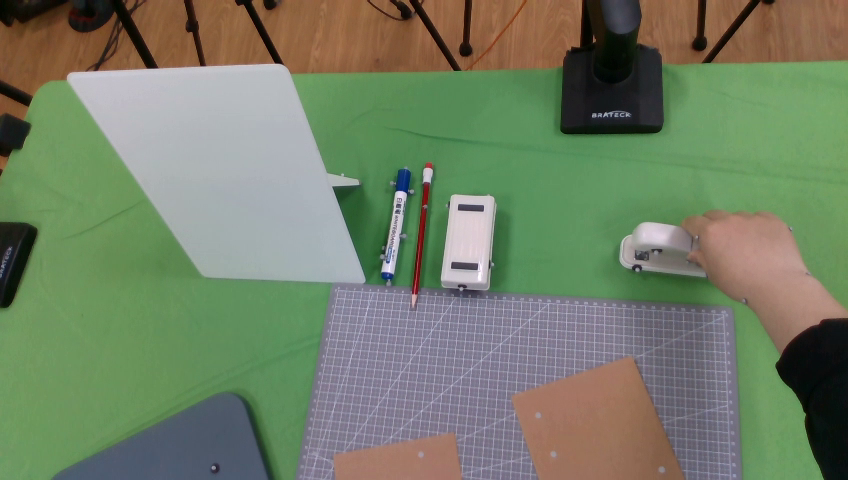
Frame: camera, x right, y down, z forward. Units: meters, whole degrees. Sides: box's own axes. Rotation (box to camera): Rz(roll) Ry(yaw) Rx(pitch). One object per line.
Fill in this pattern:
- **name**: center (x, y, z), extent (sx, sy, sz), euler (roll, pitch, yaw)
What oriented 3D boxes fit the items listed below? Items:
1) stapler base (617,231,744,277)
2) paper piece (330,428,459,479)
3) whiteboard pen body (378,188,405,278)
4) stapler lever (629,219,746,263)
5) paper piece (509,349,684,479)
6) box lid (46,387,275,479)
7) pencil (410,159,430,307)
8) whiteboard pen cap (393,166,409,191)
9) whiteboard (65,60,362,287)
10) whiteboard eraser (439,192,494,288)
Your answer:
- **stapler base**: center (0.278, 0.011, 0.654), extent (0.130, 0.024, 0.041), euler (7, 70, 11)
- **paper piece**: center (-0.026, 0.274, 0.624), extent (0.135, 0.004, 0.134), euler (-12, 67, 6)
- **whiteboard pen body**: center (-0.038, -0.021, 0.742), extent (0.017, 0.017, 0.140), euler (4, 69, 13)
- **stapler lever**: center (0.276, 0.001, 0.631), extent (0.118, 0.040, 0.026), euler (6, 70, 12)
- **paper piece**: center (0.171, 0.198, 0.617), extent (0.136, 0.009, 0.137), euler (-20, 68, 6)
- **box lid**: center (-0.257, 0.366, 0.633), extent (0.263, 0.015, 0.368), euler (-27, 67, 0)
- **pencil**: center (-0.006, -0.012, 0.735), extent (0.012, 0.012, 0.193), euler (1, 69, 12)
- **whiteboard pen cap**: center (-0.029, -0.076, 0.761), extent (0.018, 0.018, 0.033), euler (1, 68, 12)
- **whiteboard**: center (-0.187, -0.099, 0.678), extent (0.217, 0.308, 0.142), euler (2, 50, 12)
- **whiteboard eraser**: center (0.050, 0.000, 0.704), extent (0.055, 0.042, 0.112), euler (2, 69, 13)
